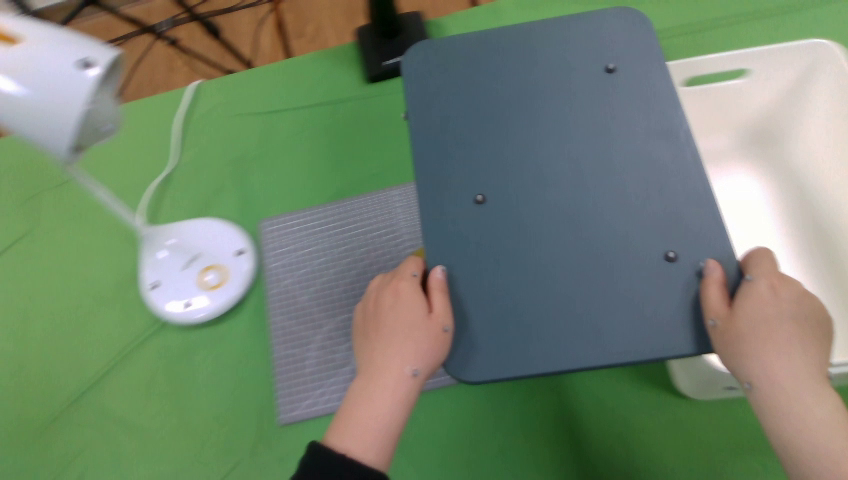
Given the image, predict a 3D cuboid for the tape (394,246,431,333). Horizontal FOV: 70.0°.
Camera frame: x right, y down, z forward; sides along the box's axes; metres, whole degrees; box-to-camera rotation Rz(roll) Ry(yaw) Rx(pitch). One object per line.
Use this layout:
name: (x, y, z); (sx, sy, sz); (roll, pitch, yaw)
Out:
tape: (0.023, 0.059, 0.760); (0.117, 0.053, 0.116); (-3, 63, 7)

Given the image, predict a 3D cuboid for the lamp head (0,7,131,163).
lamp head: (-0.329, -0.138, 0.512); (0.123, 0.112, 0.111); (23, 65, -17)

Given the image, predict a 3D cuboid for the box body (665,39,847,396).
box body: (0.375, -0.022, 0.682); (0.254, 0.162, 0.361); (-8, 63, 5)

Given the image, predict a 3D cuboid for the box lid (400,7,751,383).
box lid: (0.120, -0.064, 0.567); (0.263, 0.015, 0.368); (-9, 65, 4)

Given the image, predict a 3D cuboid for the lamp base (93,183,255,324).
lamp base: (-0.335, 0.002, 0.777); (0.178, 0.182, 0.160); (22, 69, 22)
